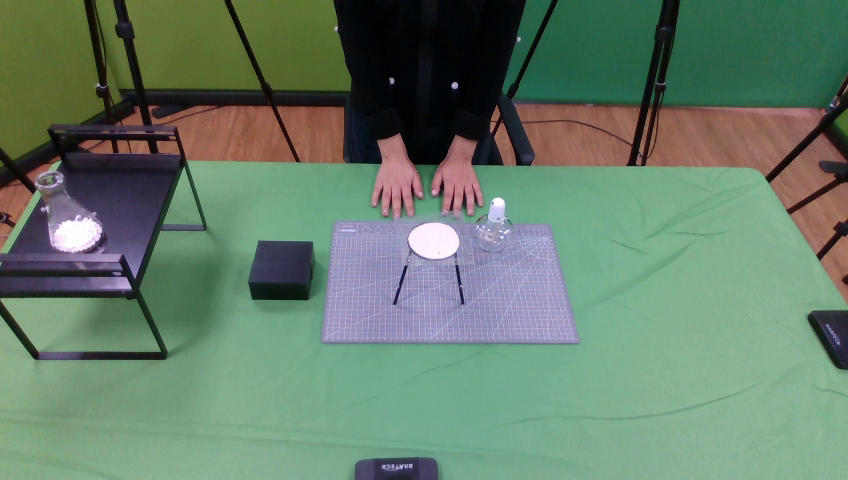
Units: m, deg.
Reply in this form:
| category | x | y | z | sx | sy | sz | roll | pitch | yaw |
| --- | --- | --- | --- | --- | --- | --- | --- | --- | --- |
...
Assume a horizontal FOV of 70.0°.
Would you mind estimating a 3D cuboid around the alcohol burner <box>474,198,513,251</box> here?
| category | x | y | z | sx | sy | sz | roll | pitch | yaw |
| --- | --- | --- | --- | --- | --- | --- | --- | --- | --- |
| alcohol burner | 0.137 | -0.035 | 1.175 | 0.078 | 0.120 | 0.077 | 1 | 47 | -1 |

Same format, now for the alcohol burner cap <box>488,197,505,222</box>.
| category | x | y | z | sx | sy | sz | roll | pitch | yaw |
| --- | --- | --- | --- | --- | --- | --- | --- | --- | --- |
| alcohol burner cap | 0.139 | -0.060 | 1.149 | 0.034 | 0.048 | 0.033 | 1 | 43 | 0 |

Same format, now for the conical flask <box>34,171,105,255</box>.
| category | x | y | z | sx | sy | sz | roll | pitch | yaw |
| --- | --- | --- | --- | --- | --- | --- | --- | --- | --- |
| conical flask | -0.522 | -0.043 | 0.879 | 0.075 | 0.122 | 0.075 | 2 | 46 | -2 |

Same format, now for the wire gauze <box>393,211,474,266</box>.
| category | x | y | z | sx | sy | sz | roll | pitch | yaw |
| --- | --- | --- | --- | --- | --- | --- | --- | --- | --- |
| wire gauze | 0.015 | -0.003 | 1.028 | 0.125 | 0.011 | 0.120 | -4 | 47 | -7 |

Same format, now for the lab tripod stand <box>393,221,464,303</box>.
| category | x | y | z | sx | sy | sz | roll | pitch | yaw |
| --- | --- | --- | --- | --- | --- | --- | --- | --- | --- |
| lab tripod stand | 0.009 | 0.045 | 1.075 | 0.148 | 0.132 | 0.147 | 2 | 48 | -2 |
